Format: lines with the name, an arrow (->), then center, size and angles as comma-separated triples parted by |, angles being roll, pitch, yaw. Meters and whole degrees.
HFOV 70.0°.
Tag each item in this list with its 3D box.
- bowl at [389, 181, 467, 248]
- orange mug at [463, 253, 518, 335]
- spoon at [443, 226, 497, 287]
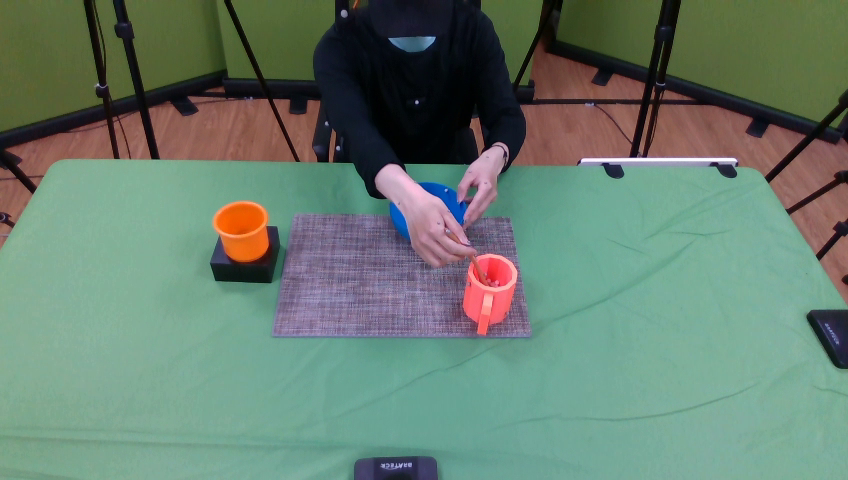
bowl -> 0.006, -0.038, 1.188 | 0.151, 0.077, 0.150 | 2, 46, -2
orange mug -> 0.113, 0.098, 1.050 | 0.083, 0.101, 0.125 | 9, 41, 5
spoon -> 0.085, 0.038, 1.026 | 0.021, 0.195, 0.041 | -31, 36, 8
